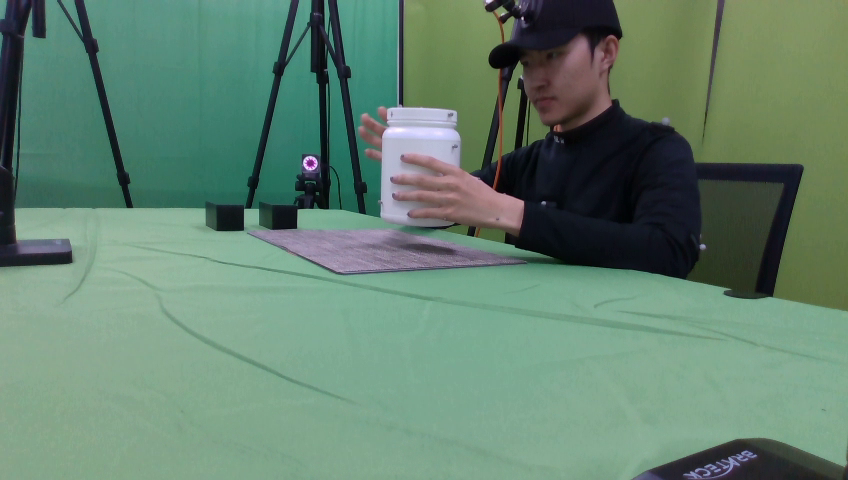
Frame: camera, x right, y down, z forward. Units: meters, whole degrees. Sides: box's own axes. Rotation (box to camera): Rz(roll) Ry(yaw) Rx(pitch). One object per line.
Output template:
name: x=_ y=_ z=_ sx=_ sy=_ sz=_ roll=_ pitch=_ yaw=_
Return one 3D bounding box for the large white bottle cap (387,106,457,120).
large white bottle cap: x=-0.003 y=-0.206 z=0.986 sx=0.115 sy=0.018 sz=0.115 roll=2 pitch=9 yaw=0

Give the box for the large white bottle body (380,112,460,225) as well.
large white bottle body: x=-0.006 y=-0.123 z=0.998 sx=0.131 sy=0.184 sz=0.130 roll=1 pitch=9 yaw=0
